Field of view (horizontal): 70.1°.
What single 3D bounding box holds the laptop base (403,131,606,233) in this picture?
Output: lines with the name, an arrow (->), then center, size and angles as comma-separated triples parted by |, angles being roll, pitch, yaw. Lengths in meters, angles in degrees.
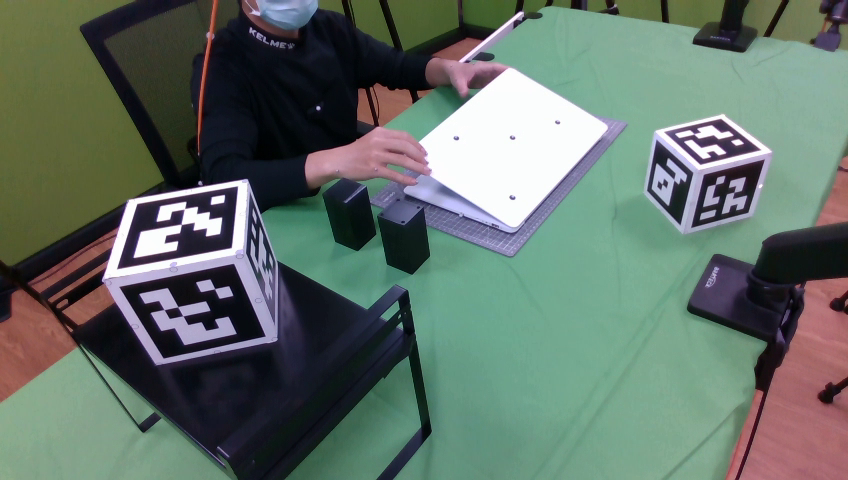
laptop base -> 0.156, -0.144, 1.116 | 0.233, 0.023, 0.355 | 20, 47, 32

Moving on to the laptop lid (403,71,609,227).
laptop lid -> 0.157, -0.181, 1.080 | 0.240, 0.013, 0.358 | 36, 54, 18
